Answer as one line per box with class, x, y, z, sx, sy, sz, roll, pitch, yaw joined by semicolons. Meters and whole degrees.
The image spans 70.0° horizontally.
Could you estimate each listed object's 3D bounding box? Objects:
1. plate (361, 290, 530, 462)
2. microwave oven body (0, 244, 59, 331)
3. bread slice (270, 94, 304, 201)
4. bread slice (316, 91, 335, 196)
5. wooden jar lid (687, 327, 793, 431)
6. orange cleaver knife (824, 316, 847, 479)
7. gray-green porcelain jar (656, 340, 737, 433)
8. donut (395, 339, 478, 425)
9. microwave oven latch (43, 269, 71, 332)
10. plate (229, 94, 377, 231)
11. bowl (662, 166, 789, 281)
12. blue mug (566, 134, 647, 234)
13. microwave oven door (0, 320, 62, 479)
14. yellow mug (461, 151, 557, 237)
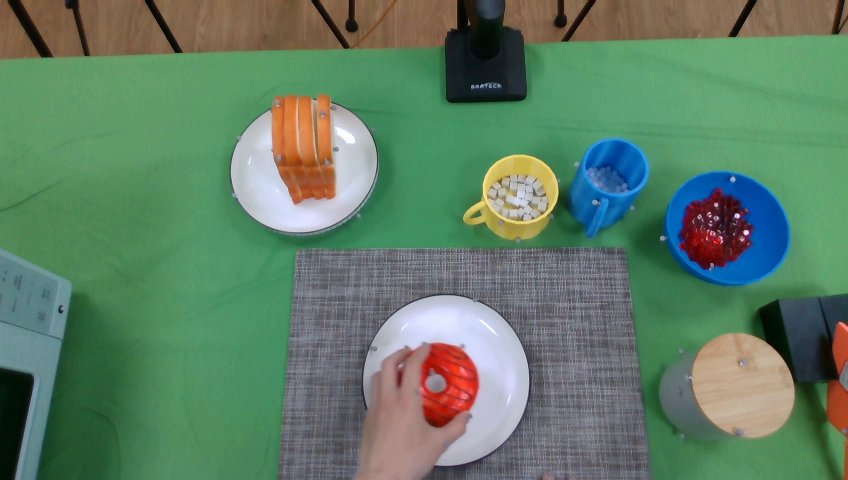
plate;0.027;0.167;0.754;0.209;0.038;0.207;-1;71;2
microwave oven body;-0.636;0.216;0.644;0.326;0.262;0.439;-1;72;2
bread slice;-0.181;-0.129;0.807;0.018;0.135;0.106;-4;67;-1
bread slice;-0.131;-0.131;0.807;0.019;0.132;0.104;-3;73;-7
wooden jar lid;0.331;0.147;0.641;0.108;0.021;0.107;0;73;0
orange cleaver knife;0.493;0.196;0.707;0.012;0.077;0.212;-4;101;2
gray-green porcelain jar;0.335;0.168;0.700;0.106;0.127;0.105;-1;71;2
donut;0.015;0.164;0.705;0.099;0.048;0.098;-2;70;6
microwave oven latch;-0.484;0.079;0.786;0.030;0.030;0.078;2;72;3
plate;-0.168;-0.107;0.858;0.207;0.039;0.206;0;72;2
bowl;0.375;-0.011;0.783;0.151;0.077;0.150;-1;72;2
blue mug;0.231;-0.063;0.792;0.082;0.106;0.116;18;73;8
microwave oven door;-0.491;0.253;0.621;0.039;0.245;0.353;-1;71;2
yellow mug;0.111;-0.055;0.815;0.131;0.064;0.099;-22;71;-4
